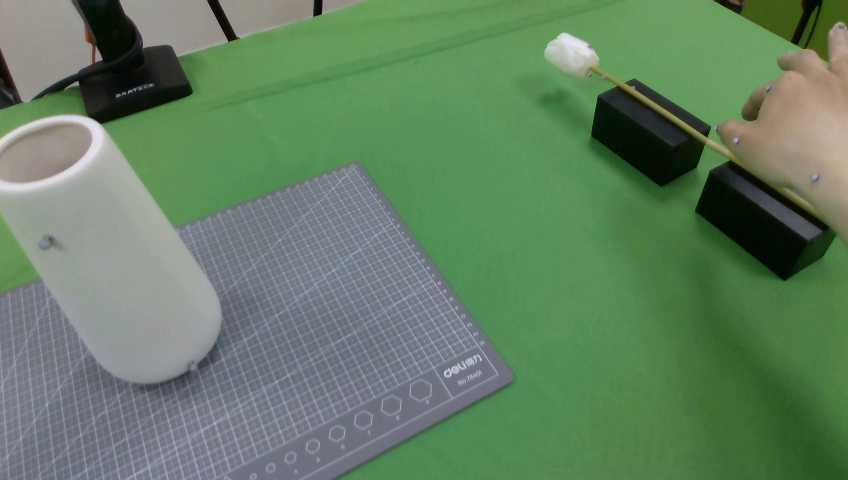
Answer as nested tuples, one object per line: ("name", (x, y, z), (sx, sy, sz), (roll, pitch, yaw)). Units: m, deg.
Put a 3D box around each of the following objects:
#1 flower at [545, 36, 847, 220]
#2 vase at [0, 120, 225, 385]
("flower", (0.239, -0.113, 0.569), (0.044, 0.038, 0.357), (-11, 41, -30))
("vase", (-0.213, 0.016, 0.423), (0.098, 0.202, 0.097), (-3, 47, 3))
